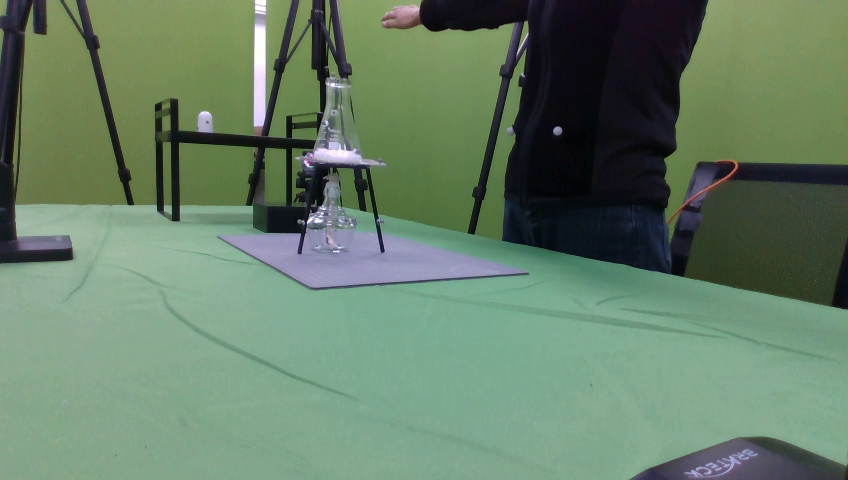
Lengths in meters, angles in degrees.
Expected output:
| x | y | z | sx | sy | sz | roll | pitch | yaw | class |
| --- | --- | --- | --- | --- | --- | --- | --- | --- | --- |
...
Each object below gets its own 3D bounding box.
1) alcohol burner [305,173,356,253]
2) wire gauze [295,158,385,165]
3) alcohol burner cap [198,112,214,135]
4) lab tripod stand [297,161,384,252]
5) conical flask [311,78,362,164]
| x | y | z | sx | sy | sz | roll | pitch | yaw | class |
| --- | --- | --- | --- | --- | --- | --- | --- | --- | --- |
| -0.139 | -0.041 | 0.898 | 0.078 | 0.119 | 0.078 | 4 | 8 | 0 | alcohol burner |
| -0.128 | -0.117 | 0.901 | 0.125 | 0.011 | 0.121 | -2 | 8 | -14 | wire gauze |
| -0.459 | -0.246 | 1.271 | 0.034 | 0.048 | 0.034 | 2 | 6 | 0 | alcohol burner cap |
| -0.130 | -0.051 | 0.903 | 0.148 | 0.131 | 0.148 | 3 | 9 | 0 | lab tripod stand |
| -0.128 | -0.174 | 0.890 | 0.075 | 0.122 | 0.075 | 3 | 8 | 0 | conical flask |
